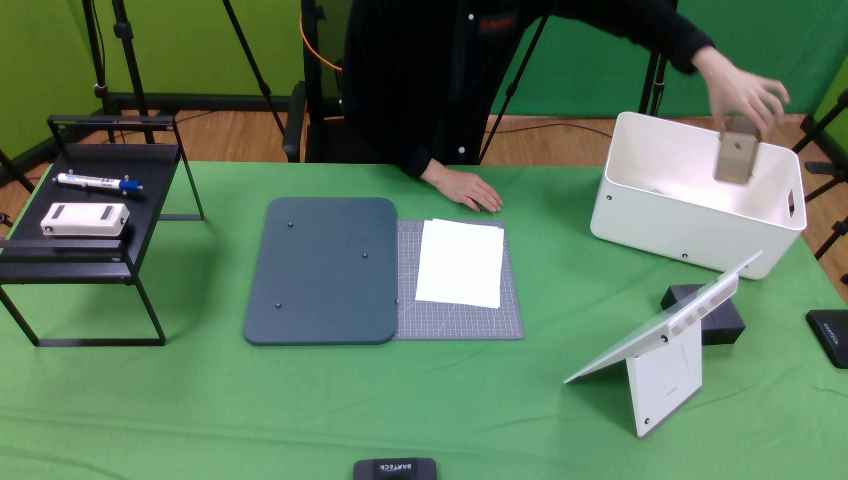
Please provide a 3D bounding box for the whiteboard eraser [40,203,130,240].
[{"bbox_3d":[-0.513,-0.028,0.922,0.113,0.042,0.055,1,48,-3],"label":"whiteboard eraser"}]

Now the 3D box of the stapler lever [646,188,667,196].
[{"bbox_3d":[0.507,-0.075,1.263,0.027,0.040,0.117,-14,46,-19],"label":"stapler lever"}]

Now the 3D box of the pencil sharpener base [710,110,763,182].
[{"bbox_3d":[0.567,-0.172,1.099,0.061,0.107,0.076,17,44,32],"label":"pencil sharpener base"}]

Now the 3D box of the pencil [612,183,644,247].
[{"bbox_3d":[0.430,-0.058,1.285,0.012,0.012,0.192,-2,46,-6],"label":"pencil"}]

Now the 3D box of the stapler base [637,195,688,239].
[{"bbox_3d":[0.507,-0.055,1.280,0.041,0.024,0.129,-14,47,-19],"label":"stapler base"}]

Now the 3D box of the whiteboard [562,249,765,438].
[{"bbox_3d":[0.386,0.175,0.905,0.217,0.306,0.143,-26,72,-26],"label":"whiteboard"}]

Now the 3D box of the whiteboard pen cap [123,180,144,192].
[{"bbox_3d":[-0.479,-0.089,0.993,0.033,0.018,0.018,7,46,14],"label":"whiteboard pen cap"}]

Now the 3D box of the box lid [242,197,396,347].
[{"bbox_3d":[-0.186,0.046,1.147,0.263,0.015,0.369,0,46,-3],"label":"box lid"}]

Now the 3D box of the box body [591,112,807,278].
[{"bbox_3d":[0.540,-0.092,1.229,0.363,0.161,0.253,16,47,11],"label":"box body"}]

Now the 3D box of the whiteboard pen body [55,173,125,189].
[{"bbox_3d":[-0.539,-0.095,0.998,0.141,0.017,0.017,6,46,6],"label":"whiteboard pen body"}]

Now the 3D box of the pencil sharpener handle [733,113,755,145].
[{"bbox_3d":[0.594,-0.210,1.123,0.036,0.068,0.030,17,44,31],"label":"pencil sharpener handle"}]
